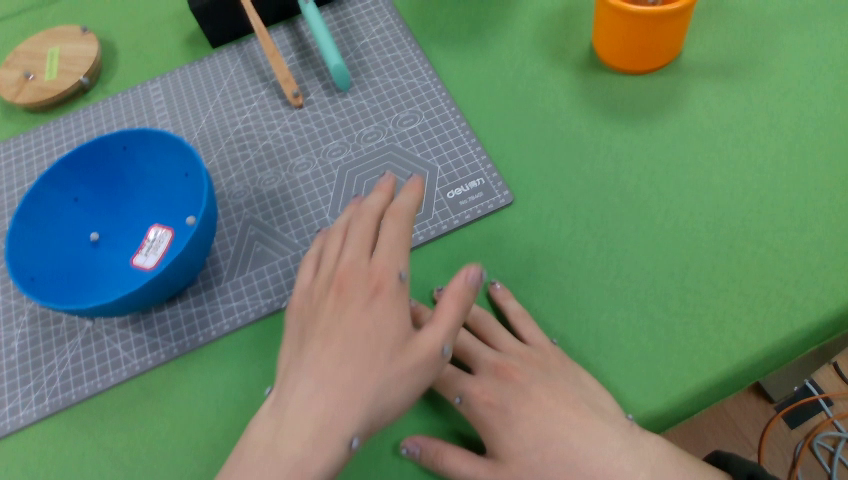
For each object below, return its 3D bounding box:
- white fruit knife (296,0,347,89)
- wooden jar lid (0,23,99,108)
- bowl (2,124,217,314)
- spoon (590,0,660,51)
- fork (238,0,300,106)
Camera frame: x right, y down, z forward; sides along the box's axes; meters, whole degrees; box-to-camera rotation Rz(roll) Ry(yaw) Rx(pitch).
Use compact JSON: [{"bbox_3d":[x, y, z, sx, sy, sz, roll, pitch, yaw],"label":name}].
[{"bbox_3d":[-0.118,-0.231,0.568,0.016,0.027,0.206,-25,74,-6],"label":"white fruit knife"},{"bbox_3d":[-0.381,-0.176,0.616,0.108,0.021,0.107,-3,61,6],"label":"wooden jar lid"},{"bbox_3d":[-0.219,-0.004,0.458,0.151,0.077,0.150,-4,61,7],"label":"bowl"},{"bbox_3d":[0.209,-0.223,0.474,0.022,0.194,0.041,8,52,-39],"label":"spoon"},{"bbox_3d":[-0.163,-0.213,0.564,0.028,0.019,0.206,-26,79,-11],"label":"fork"}]
